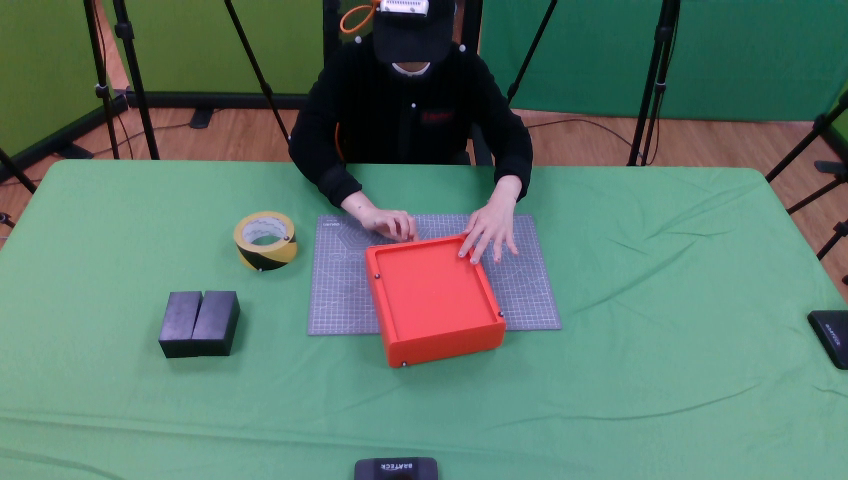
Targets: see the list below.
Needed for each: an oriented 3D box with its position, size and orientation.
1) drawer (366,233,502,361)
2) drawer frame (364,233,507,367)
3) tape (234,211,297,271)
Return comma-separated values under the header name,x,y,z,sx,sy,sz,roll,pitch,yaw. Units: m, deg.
name,x,y,z,sx,sy,sz,roll,pitch,yaw
drawer,0.012,0.095,1.064,0.195,0.073,0.210,-7,48,-12
drawer frame,0.013,0.098,1.058,0.202,0.083,0.212,-9,48,-12
tape,-0.301,0.002,1.154,0.117,0.053,0.116,2,46,-1
